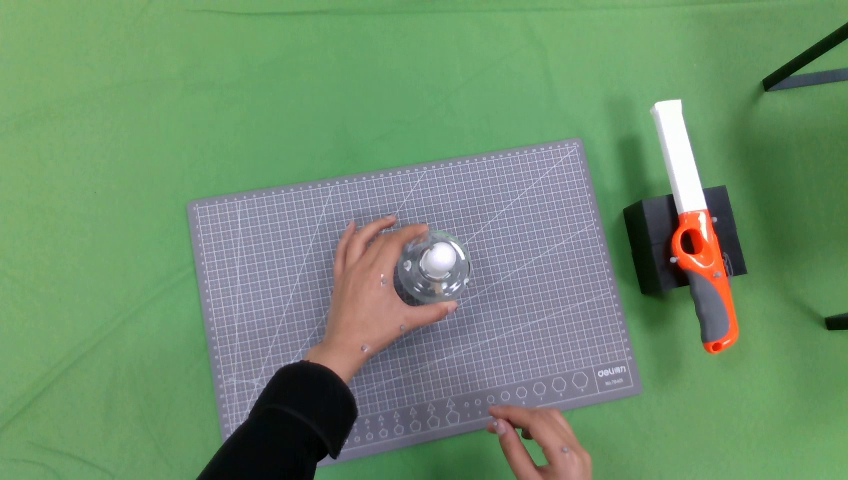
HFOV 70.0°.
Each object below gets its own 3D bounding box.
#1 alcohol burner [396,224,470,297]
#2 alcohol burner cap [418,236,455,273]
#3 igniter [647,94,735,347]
[{"bbox_3d":[0.011,0.018,0.613,0.078,0.119,0.077,1,79,-7],"label":"alcohol burner"},{"bbox_3d":[0.013,0.013,0.583,0.034,0.048,0.033,2,77,-8],"label":"alcohol burner cap"},{"bbox_3d":[0.286,-0.025,0.650,0.057,0.025,0.275,-8,80,-7],"label":"igniter"}]
